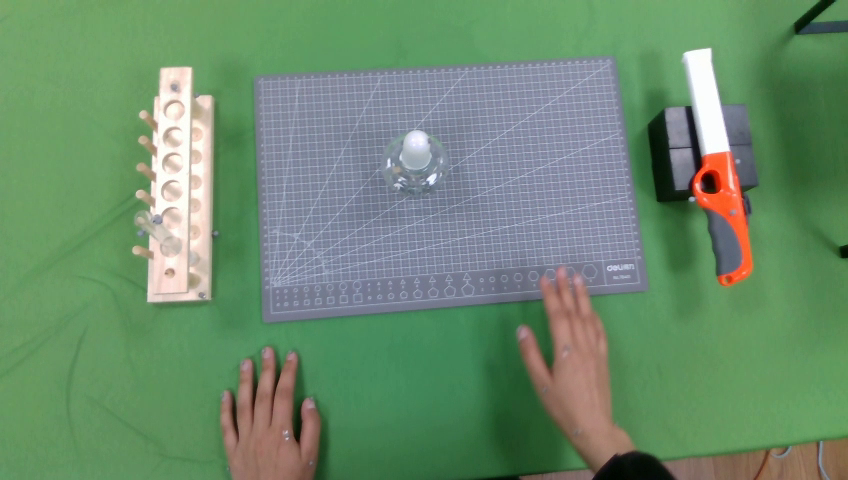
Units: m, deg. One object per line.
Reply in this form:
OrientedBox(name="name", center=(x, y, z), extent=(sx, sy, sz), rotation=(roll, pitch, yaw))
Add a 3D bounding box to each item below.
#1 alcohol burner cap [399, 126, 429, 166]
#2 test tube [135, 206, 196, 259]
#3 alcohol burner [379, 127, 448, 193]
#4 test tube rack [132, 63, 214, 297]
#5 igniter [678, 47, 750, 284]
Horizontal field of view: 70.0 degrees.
OrientedBox(name="alcohol burner cap", center=(-0.010, -0.101, 0.636), extent=(0.034, 0.048, 0.033), rotation=(1, 73, -4))
OrientedBox(name="test tube", center=(-0.256, -0.004, 0.608), extent=(0.017, 0.151, 0.017), rotation=(1, 74, -5))
OrientedBox(name="alcohol burner", center=(-0.012, -0.094, 0.671), extent=(0.078, 0.119, 0.077), rotation=(0, 81, -2))
OrientedBox(name="test tube rack", center=(-0.279, -0.062, 0.667), extent=(0.067, 0.085, 0.241), rotation=(-2, 80, -3))
OrientedBox(name="igniter", center=(0.329, -0.088, 0.689), extent=(0.057, 0.025, 0.275), rotation=(-7, 80, 8))
